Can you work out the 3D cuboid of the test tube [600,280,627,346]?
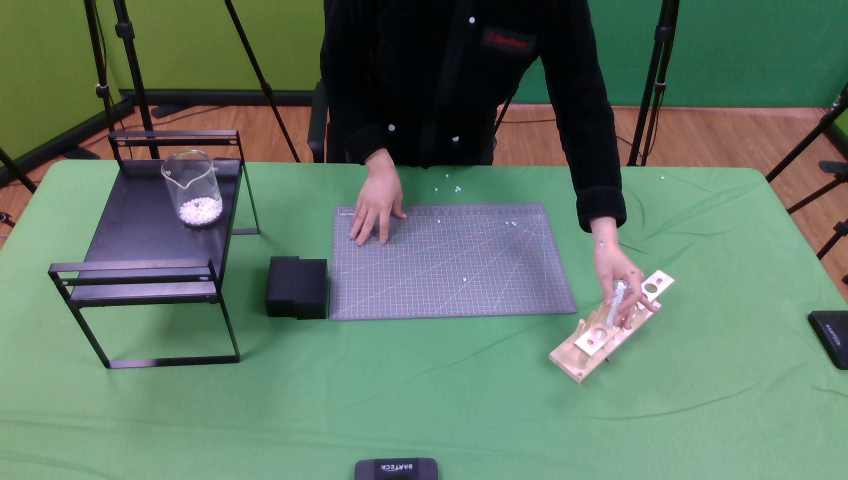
[{"bbox_3d":[0.304,0.121,0.979,0.017,0.151,0.017,0,42,0],"label":"test tube"}]

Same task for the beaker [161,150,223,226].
[{"bbox_3d":[-0.356,-0.076,0.941,0.074,0.101,0.083,-4,47,-8],"label":"beaker"}]

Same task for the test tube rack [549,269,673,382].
[{"bbox_3d":[0.325,0.135,1.047,0.242,0.085,0.066,-32,55,-30],"label":"test tube rack"}]
